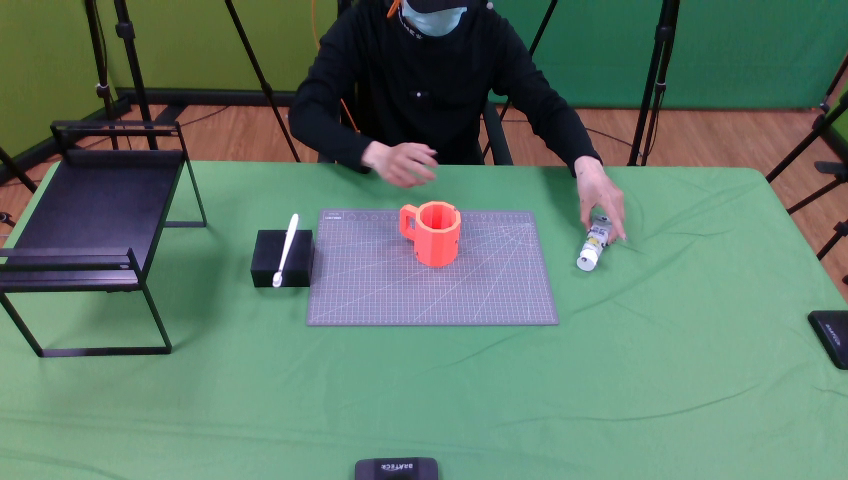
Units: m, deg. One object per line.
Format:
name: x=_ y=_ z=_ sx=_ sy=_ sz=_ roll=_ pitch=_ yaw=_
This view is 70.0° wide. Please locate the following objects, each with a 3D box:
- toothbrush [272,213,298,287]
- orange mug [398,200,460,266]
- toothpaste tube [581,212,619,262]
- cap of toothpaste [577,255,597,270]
toothbrush: x=-0.252 y=0.012 z=1.103 sx=0.014 sy=0.017 sz=0.181 roll=1 pitch=46 yaw=3
orange mug: x=0.007 y=-0.020 z=1.161 sx=0.126 sy=0.101 sz=0.083 roll=27 pitch=50 yaw=15
toothpaste tube: x=0.351 y=-0.004 z=1.222 sx=0.055 sy=0.035 sz=0.164 roll=20 pitch=45 yaw=17
cap of toothpaste: x=0.315 y=0.042 z=1.169 sx=0.037 sy=0.037 sz=0.011 roll=20 pitch=46 yaw=15
